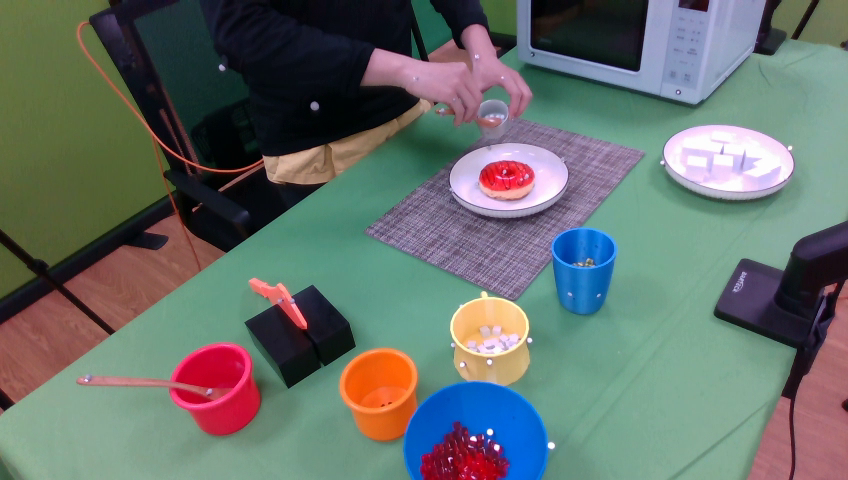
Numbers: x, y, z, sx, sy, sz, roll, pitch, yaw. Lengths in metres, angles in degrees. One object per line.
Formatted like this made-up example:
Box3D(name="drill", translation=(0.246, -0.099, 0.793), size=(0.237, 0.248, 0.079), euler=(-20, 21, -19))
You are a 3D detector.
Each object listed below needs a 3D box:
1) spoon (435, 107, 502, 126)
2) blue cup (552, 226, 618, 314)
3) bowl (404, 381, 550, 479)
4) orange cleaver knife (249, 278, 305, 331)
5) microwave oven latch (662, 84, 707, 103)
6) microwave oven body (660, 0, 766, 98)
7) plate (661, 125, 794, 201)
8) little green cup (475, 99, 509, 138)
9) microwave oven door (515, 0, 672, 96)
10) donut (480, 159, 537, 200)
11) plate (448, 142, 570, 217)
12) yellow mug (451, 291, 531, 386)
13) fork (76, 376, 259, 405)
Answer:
Box3D(name="spoon", translation=(0.072, -0.203, 0.982), size=(0.041, 0.021, 0.195), euler=(15, 9, 33))
Box3D(name="blue cup", translation=(0.218, 0.047, 0.826), size=(0.092, 0.100, 0.092), euler=(-6, 40, 5))
Box3D(name="bowl", translation=(0.058, 0.235, 0.645), size=(0.151, 0.077, 0.150), euler=(-4, 39, 4))
Box3D(name="orange cleaver knife", translation=(-0.210, 0.088, 0.856), size=(0.012, 0.077, 0.210), euler=(-28, 15, -25))
Box3D(name="microwave oven latch", translation=(0.517, -0.296, 1.204), size=(0.078, 0.029, 0.030), euler=(27, 52, 35))
Box3D(name="microwave oven body", translation=(0.473, -0.513, 1.317), size=(0.438, 0.261, 0.327), euler=(26, 51, 34))
Box3D(name="plate", translation=(0.513, -0.128, 1.035), size=(0.207, 0.039, 0.206), euler=(-4, 40, 4))
Box3D(name="little green cup", translation=(0.121, -0.213, 1.069), size=(0.061, 0.039, 0.061), euler=(-5, 63, 10))
Box3D(name="microwave oven door", translation=(0.344, -0.455, 1.260), size=(0.353, 0.245, 0.039), euler=(26, 51, 33))
Box3D(name="donut", translation=(0.146, -0.106, 1.042), size=(0.099, 0.048, 0.098), euler=(-5, 38, 4))
Box3D(name="plate", translation=(0.148, -0.101, 1.053), size=(0.209, 0.038, 0.208), euler=(-4, 40, 4))
Box3D(name="yellow mug", translation=(0.085, 0.120, 0.786), size=(0.100, 0.064, 0.130), euler=(-7, 39, 1))
Box3D(name="fork", translation=(-0.295, 0.176, 0.716), size=(0.209, 0.018, 0.028), euler=(19, 26, -36))
